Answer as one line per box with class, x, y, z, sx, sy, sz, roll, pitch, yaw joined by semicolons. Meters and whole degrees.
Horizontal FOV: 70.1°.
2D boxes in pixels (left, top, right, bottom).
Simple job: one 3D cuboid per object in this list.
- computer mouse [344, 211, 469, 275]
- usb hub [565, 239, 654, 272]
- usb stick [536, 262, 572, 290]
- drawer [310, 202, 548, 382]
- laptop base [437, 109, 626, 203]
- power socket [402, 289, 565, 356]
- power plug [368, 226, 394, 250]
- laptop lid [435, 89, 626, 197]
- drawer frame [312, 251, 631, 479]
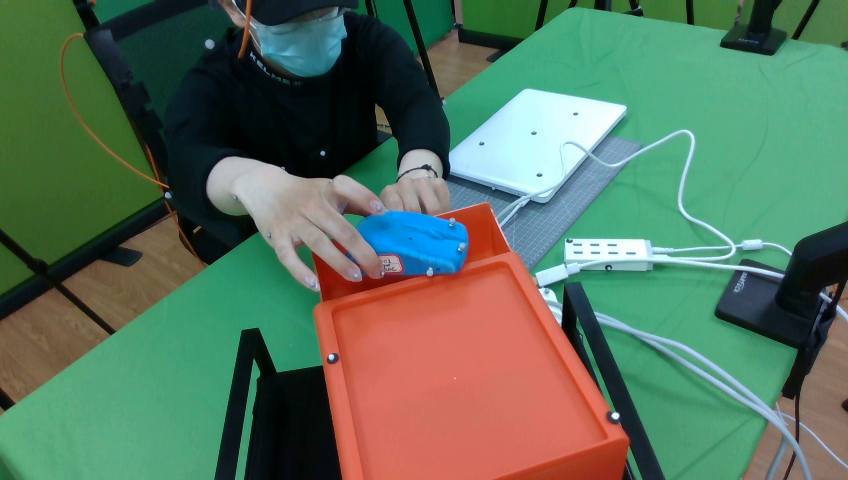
computer mouse;-0.016;0.002;0.567;0.117;0.041;0.062;2;38;9
usb hub;0.275;0.022;0.906;0.125;0.025;0.049;1;41;9
usb stick;0.183;0.056;0.875;0.059;0.021;0.027;-30;2;-6
drawer;0.003;0.069;0.569;0.195;0.073;0.210;-13;41;-7
laptop base;0.214;-0.193;1.172;0.233;0.023;0.355;19;46;32
power socket;0.081;0.111;0.822;0.227;0.033;0.072;-7;41;-1
power plug;-0.065;0.008;0.955;0.035;0.053;0.072;-30;52;4
laptop lid;0.211;-0.202;1.165;0.240;0.013;0.358;21;47;32
drawer frame;0.025;0.122;0.501;0.202;0.083;0.212;-14;41;-9
